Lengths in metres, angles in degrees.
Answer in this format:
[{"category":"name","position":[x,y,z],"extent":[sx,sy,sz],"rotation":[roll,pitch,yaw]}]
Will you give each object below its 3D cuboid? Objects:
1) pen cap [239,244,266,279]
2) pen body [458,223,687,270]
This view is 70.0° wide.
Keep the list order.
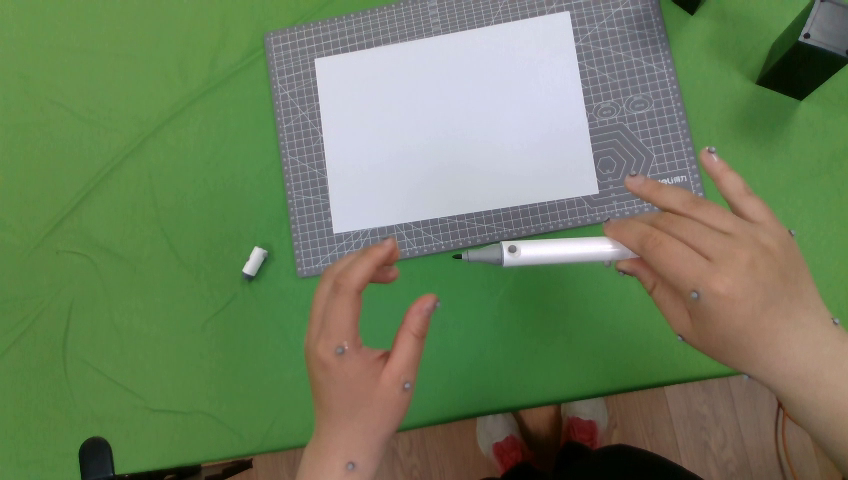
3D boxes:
[{"category":"pen cap","position":[-0.196,0.025,0.690],"extent":[0.017,0.017,0.038],"rotation":[28,87,11]},{"category":"pen body","position":[0.092,0.006,0.379],"extent":[0.144,0.017,0.017],"rotation":[-7,82,-4]}]
